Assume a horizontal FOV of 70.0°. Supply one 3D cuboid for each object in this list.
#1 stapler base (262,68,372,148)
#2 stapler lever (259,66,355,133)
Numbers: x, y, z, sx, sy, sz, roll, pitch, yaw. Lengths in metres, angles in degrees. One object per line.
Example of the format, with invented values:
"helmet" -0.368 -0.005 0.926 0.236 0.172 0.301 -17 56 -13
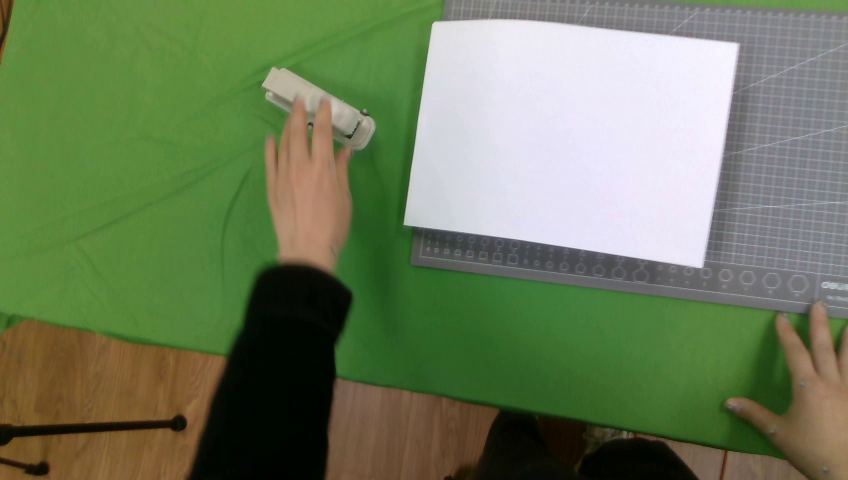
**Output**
"stapler base" -0.120 -0.147 0.663 0.130 0.024 0.041 30 88 11
"stapler lever" -0.125 -0.150 0.639 0.117 0.040 0.027 30 88 9
